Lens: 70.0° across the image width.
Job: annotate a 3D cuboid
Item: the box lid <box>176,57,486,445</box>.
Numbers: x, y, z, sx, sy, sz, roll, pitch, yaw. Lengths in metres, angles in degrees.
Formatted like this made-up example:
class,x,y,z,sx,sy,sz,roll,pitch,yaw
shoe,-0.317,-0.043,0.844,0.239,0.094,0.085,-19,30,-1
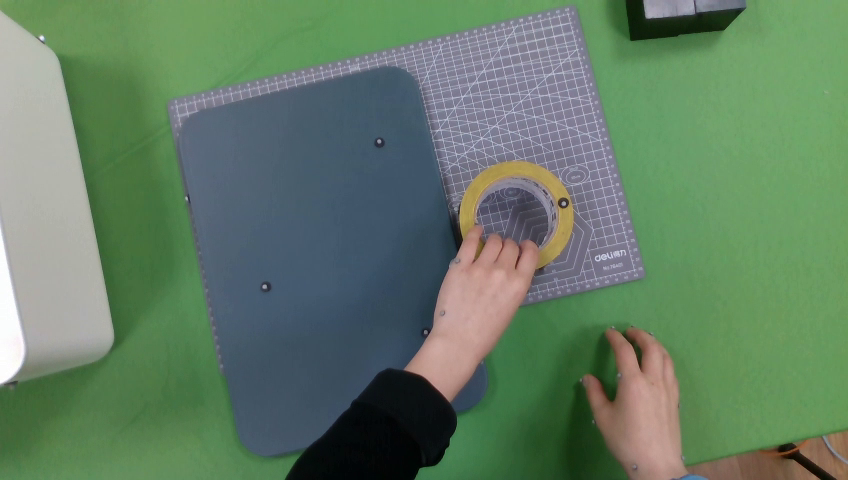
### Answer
class,x,y,z,sx,sy,sz,roll,pitch,yaw
box lid,-0.099,0.005,0.631,0.263,0.015,0.370,-14,86,0

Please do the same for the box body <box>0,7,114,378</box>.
class,x,y,z,sx,sy,sz,roll,pitch,yaw
box body,-0.476,-0.033,0.571,0.254,0.160,0.363,-15,85,0

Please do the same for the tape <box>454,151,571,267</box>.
class,x,y,z,sx,sy,sz,roll,pitch,yaw
tape,0.088,-0.029,0.606,0.117,0.053,0.116,0,86,3
